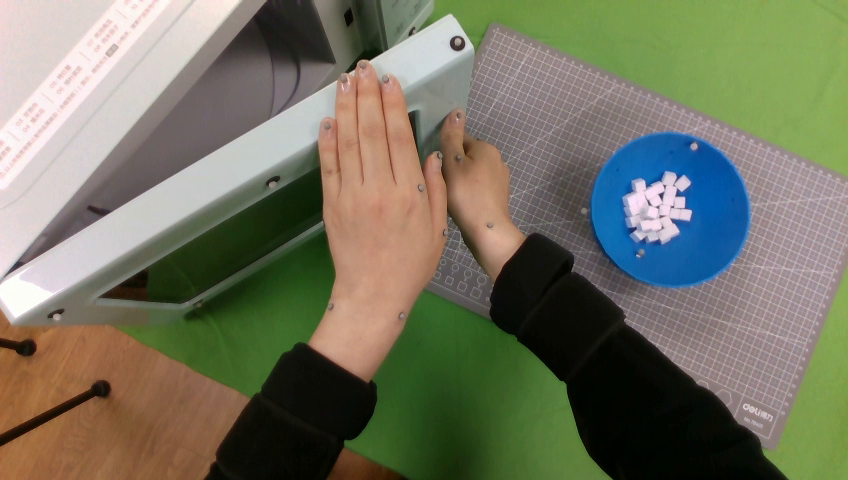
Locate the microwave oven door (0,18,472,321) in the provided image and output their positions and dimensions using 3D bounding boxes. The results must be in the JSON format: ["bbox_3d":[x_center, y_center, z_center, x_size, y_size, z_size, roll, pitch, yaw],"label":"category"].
[{"bbox_3d":[-0.123,-0.038,0.514,0.356,0.244,0.039,-32,83,-3],"label":"microwave oven door"}]

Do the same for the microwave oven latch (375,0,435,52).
[{"bbox_3d":[-0.020,-0.237,0.637,0.030,0.029,0.079,41,86,4],"label":"microwave oven latch"}]

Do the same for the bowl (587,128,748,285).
[{"bbox_3d":[0.231,-0.028,0.609,0.151,0.077,0.151,0,84,1],"label":"bowl"}]

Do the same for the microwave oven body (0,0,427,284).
[{"bbox_3d":[-0.248,-0.204,0.537,0.325,0.260,0.441,39,86,4],"label":"microwave oven body"}]
